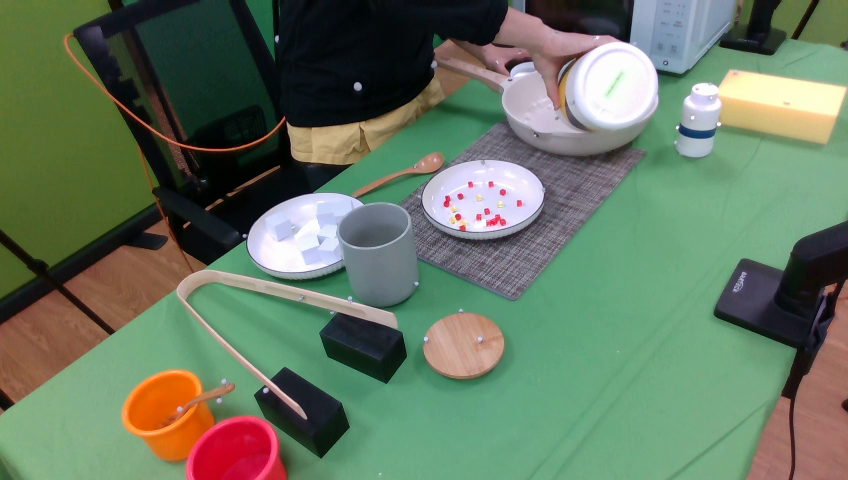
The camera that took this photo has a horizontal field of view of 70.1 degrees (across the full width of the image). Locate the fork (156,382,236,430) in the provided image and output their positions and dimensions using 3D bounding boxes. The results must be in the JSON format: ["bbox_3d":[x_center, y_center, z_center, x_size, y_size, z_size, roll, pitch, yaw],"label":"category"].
[{"bbox_3d":[-0.262,0.189,0.690,0.018,0.206,0.028,49,43,-7],"label":"fork"}]

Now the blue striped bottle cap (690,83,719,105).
[{"bbox_3d":[0.481,-0.251,1.038,0.044,0.021,0.044,-4,40,4],"label":"blue striped bottle cap"}]

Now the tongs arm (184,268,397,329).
[{"bbox_3d":[-0.203,0.084,0.847,0.382,0.027,0.051,11,44,35],"label":"tongs arm"}]

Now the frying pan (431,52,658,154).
[{"bbox_3d":[0.216,-0.302,1.223,0.484,0.103,0.308,29,50,24],"label":"frying pan"}]

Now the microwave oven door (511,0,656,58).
[{"bbox_3d":[0.350,-0.539,1.349,0.353,0.245,0.039,24,50,31],"label":"microwave oven door"}]

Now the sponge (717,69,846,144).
[{"bbox_3d":[0.663,-0.256,1.141,0.205,0.061,0.118,19,46,27],"label":"sponge"}]

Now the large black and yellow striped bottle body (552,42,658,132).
[{"bbox_3d":[0.288,-0.246,1.002,0.131,0.131,0.183,-9,9,-2],"label":"large black and yellow striped bottle body"}]

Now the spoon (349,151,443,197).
[{"bbox_3d":[-0.051,-0.122,1.120,0.194,0.022,0.041,-22,59,-18],"label":"spoon"}]

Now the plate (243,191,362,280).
[{"bbox_3d":[-0.187,-0.005,0.992,0.207,0.039,0.206,-4,40,4],"label":"plate"}]

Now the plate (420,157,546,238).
[{"bbox_3d":[0.099,-0.067,1.017,0.209,0.038,0.208,-4,40,4],"label":"plate"}]

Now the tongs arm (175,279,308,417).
[{"bbox_3d":[-0.255,0.131,0.800,0.028,0.028,0.384,-40,40,-24],"label":"tongs arm"}]

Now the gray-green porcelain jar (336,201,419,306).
[{"bbox_3d":[-0.064,0.024,0.872,0.106,0.127,0.105,-4,41,4],"label":"gray-green porcelain jar"}]

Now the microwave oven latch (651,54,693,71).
[{"bbox_3d":[0.531,-0.386,1.301,0.078,0.029,0.030,26,51,33],"label":"microwave oven latch"}]

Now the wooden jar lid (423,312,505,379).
[{"bbox_3d":[0.053,0.142,0.800,0.108,0.021,0.108,-5,39,4],"label":"wooden jar lid"}]

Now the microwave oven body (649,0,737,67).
[{"bbox_3d":[0.475,-0.602,1.411,0.438,0.261,0.327,23,50,32],"label":"microwave oven body"}]

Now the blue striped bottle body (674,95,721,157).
[{"bbox_3d":[0.486,-0.213,1.072,0.063,0.121,0.063,-4,41,4],"label":"blue striped bottle body"}]
